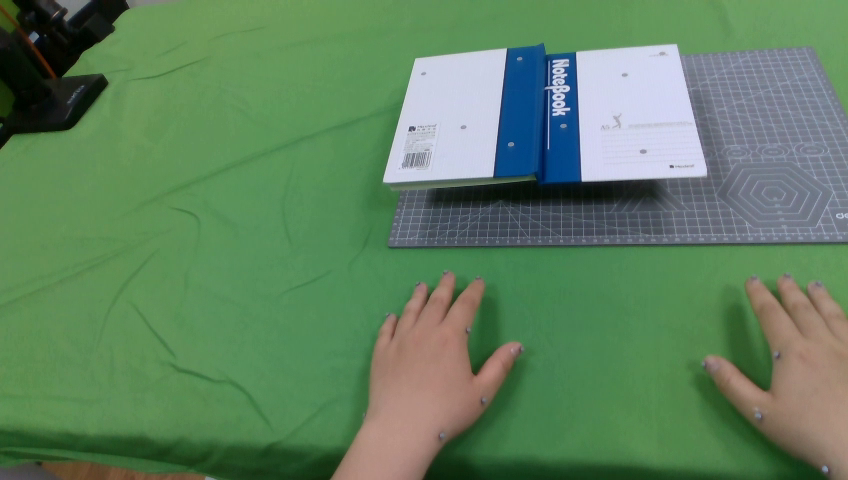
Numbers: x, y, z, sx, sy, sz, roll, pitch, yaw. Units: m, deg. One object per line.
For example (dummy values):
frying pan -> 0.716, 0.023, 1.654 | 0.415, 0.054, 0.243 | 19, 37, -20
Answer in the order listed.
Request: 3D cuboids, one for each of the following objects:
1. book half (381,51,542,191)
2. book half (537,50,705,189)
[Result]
book half -> 0.045, -0.126, 0.625 | 0.148, 0.016, 0.208 | -2, 49, 14
book half -> 0.186, -0.125, 0.599 | 0.143, 0.007, 0.208 | -1, 48, 12
